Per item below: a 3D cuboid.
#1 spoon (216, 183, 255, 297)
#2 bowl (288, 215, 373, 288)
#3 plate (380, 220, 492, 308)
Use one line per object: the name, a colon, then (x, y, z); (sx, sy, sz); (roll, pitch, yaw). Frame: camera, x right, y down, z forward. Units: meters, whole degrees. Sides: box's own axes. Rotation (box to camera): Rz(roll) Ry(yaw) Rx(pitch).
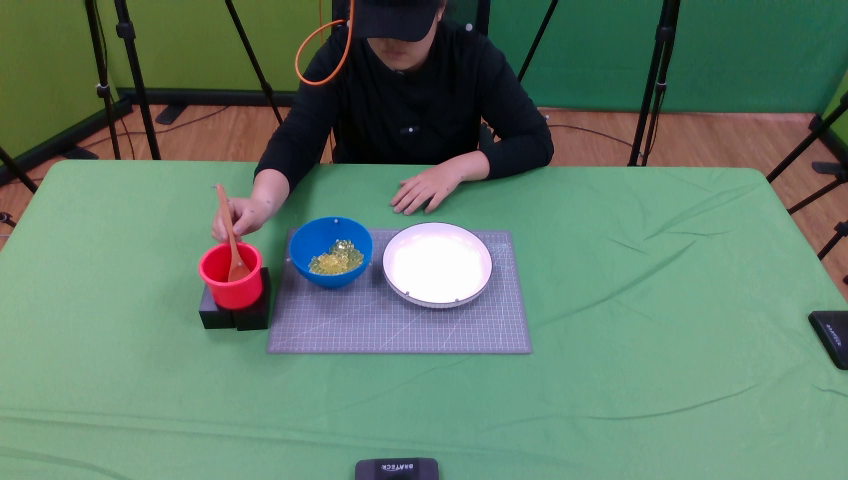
spoon: (-0.319, 0.000, 1.009); (0.042, 0.194, 0.021); (-12, 9, -15)
bowl: (-0.168, 0.034, 1.109); (0.151, 0.077, 0.150); (2, 46, -2)
plate: (0.022, 0.048, 1.137); (0.208, 0.039, 0.206); (2, 46, -2)
